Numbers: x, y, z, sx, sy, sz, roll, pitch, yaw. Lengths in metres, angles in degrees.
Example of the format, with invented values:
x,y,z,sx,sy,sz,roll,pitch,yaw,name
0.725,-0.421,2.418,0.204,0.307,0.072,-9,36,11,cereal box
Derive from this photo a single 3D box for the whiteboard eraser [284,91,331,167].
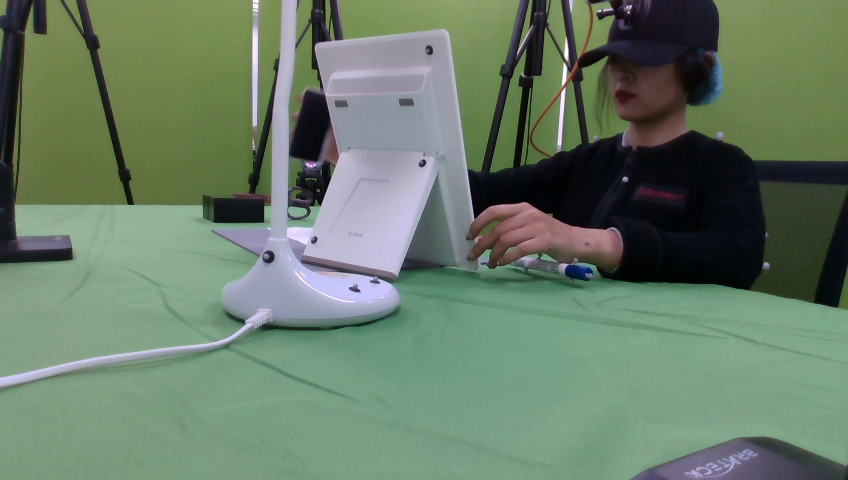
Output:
x,y,z,sx,sy,sz,roll,pitch,yaw,name
-0.175,-0.171,0.925,0.055,0.112,0.042,13,-12,11,whiteboard eraser

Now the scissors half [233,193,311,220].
x,y,z,sx,sy,sz,roll,pitch,yaw,name
-0.330,-0.078,1.320,0.176,0.040,0.013,16,3,-32,scissors half

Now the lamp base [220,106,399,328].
x,y,z,sx,sy,sz,roll,pitch,yaw,name
-0.101,-0.023,0.531,0.160,0.180,0.179,4,10,10,lamp base

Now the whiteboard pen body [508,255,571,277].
x,y,z,sx,sy,sz,roll,pitch,yaw,name
0.156,0.034,0.773,0.017,0.017,0.140,-2,7,-32,whiteboard pen body

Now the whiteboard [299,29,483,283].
x,y,z,sx,sy,sz,roll,pitch,yaw,name
-0.074,-0.082,0.742,0.216,0.305,0.144,9,29,38,whiteboard

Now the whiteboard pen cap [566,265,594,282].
x,y,z,sx,sy,sz,roll,pitch,yaw,name
0.185,0.040,0.722,0.018,0.018,0.033,-2,6,-33,whiteboard pen cap

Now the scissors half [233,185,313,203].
x,y,z,sx,sy,sz,roll,pitch,yaw,name
-0.326,-0.098,1.315,0.176,0.040,0.012,-5,20,-29,scissors half
